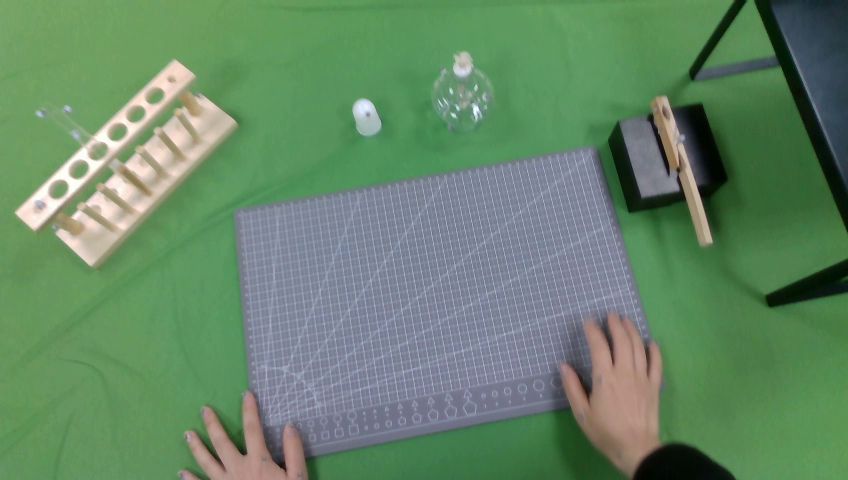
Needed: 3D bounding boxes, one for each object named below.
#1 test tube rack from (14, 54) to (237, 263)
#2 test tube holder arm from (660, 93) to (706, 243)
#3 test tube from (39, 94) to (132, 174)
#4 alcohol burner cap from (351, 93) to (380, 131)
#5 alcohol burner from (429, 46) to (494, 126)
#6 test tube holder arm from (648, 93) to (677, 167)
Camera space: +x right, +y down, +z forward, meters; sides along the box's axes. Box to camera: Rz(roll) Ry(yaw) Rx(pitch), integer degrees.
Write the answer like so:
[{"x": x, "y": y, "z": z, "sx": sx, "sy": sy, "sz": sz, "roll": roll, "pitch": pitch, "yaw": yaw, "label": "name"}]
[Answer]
[{"x": -0.339, "y": -0.094, "z": 0.709, "sx": 0.066, "sy": 0.085, "sz": 0.242, "roll": 38, "pitch": 78, "yaw": 12, "label": "test tube rack"}, {"x": 0.284, "y": -0.082, "z": 0.673, "sx": 0.013, "sy": 0.015, "sz": 0.177, "roll": -6, "pitch": 74, "yaw": -16, "label": "test tube holder arm"}, {"x": -0.364, "y": -0.111, "z": 0.663, "sx": 0.017, "sy": 0.151, "sz": 0.017, "roll": -2, "pitch": 69, "yaw": 5, "label": "test tube"}, {"x": -0.073, "y": -0.160, "z": 0.743, "sx": 0.034, "sy": 0.048, "sz": 0.033, "roll": -2, "pitch": 70, "yaw": 5, "label": "alcohol burner cap"}, {"x": 0.044, "y": -0.185, "z": 0.711, "sx": 0.078, "sy": 0.120, "sz": 0.077, "roll": -1, "pitch": 72, "yaw": 3, "label": "alcohol burner"}, {"x": 0.271, "y": -0.124, "z": 0.683, "sx": 0.010, "sy": 0.015, "sz": 0.087, "roll": -6, "pitch": 74, "yaw": -16, "label": "test tube holder arm"}]
